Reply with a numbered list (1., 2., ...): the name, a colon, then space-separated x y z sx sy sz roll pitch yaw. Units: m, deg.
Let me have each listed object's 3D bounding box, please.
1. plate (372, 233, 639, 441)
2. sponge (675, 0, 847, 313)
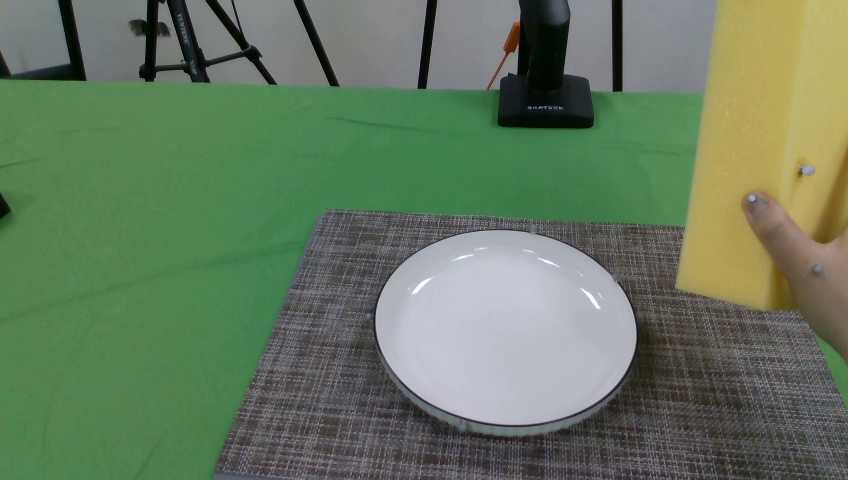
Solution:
1. plate: 0.063 0.073 0.489 0.207 0.039 0.205 -1 41 2
2. sponge: 0.236 -0.061 0.390 0.119 0.207 0.060 0 8 -32
